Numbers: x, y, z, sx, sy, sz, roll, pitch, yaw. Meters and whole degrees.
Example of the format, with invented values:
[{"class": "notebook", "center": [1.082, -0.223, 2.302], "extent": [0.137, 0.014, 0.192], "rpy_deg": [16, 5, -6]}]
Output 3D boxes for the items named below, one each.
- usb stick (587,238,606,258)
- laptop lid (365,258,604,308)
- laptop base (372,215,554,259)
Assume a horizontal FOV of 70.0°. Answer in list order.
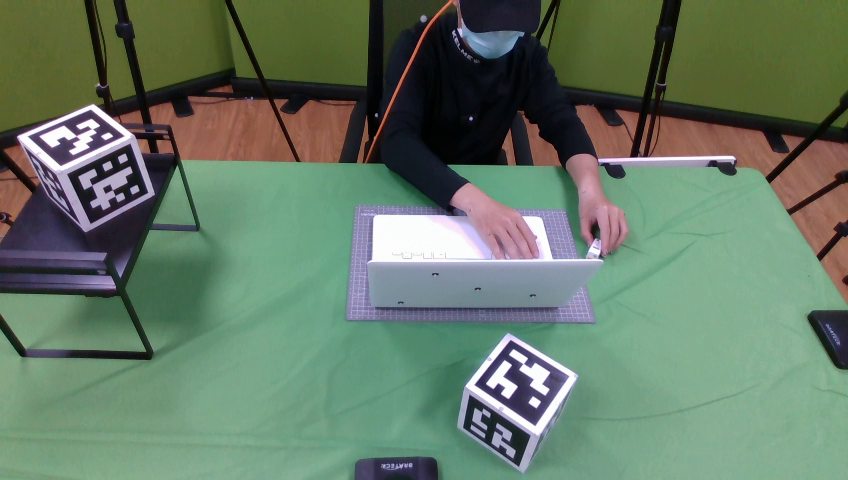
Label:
[{"class": "usb stick", "center": [0.336, 0.025, 1.191], "extent": [0.021, 0.027, 0.059], "rpy_deg": [27, 51, 15]}, {"class": "laptop lid", "center": [0.085, 0.074, 0.978], "extent": [0.357, 0.242, 0.013], "rpy_deg": [1, 67, -5]}, {"class": "laptop base", "center": [0.075, 0.037, 1.167], "extent": [0.354, 0.023, 0.234], "rpy_deg": [0, 43, -4]}]
